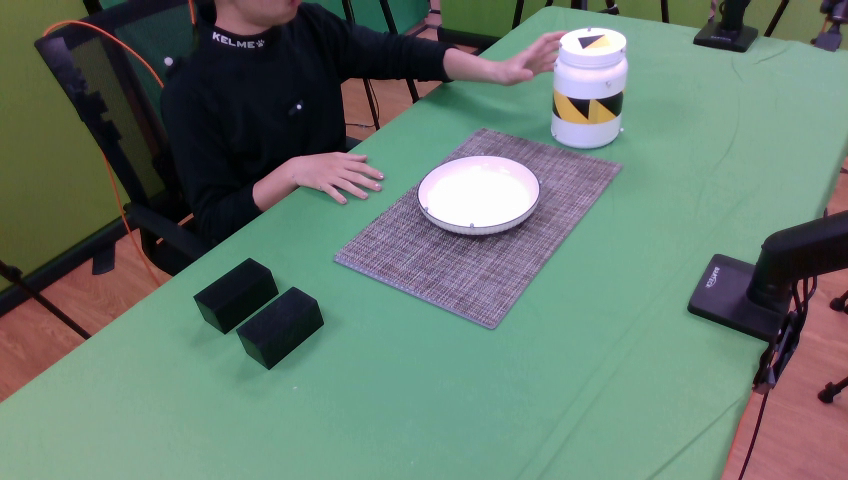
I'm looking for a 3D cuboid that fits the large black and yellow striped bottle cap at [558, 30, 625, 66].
[{"bbox_3d":[0.297,-0.342,1.071,0.115,0.019,0.114,-3,42,4],"label":"large black and yellow striped bottle cap"}]

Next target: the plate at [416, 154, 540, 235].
[{"bbox_3d":[0.090,-0.074,1.025,0.207,0.039,0.206,-4,41,4],"label":"plate"}]

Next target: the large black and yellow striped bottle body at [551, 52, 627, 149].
[{"bbox_3d":[0.305,-0.278,1.125,0.131,0.185,0.130,-4,41,4],"label":"large black and yellow striped bottle body"}]
